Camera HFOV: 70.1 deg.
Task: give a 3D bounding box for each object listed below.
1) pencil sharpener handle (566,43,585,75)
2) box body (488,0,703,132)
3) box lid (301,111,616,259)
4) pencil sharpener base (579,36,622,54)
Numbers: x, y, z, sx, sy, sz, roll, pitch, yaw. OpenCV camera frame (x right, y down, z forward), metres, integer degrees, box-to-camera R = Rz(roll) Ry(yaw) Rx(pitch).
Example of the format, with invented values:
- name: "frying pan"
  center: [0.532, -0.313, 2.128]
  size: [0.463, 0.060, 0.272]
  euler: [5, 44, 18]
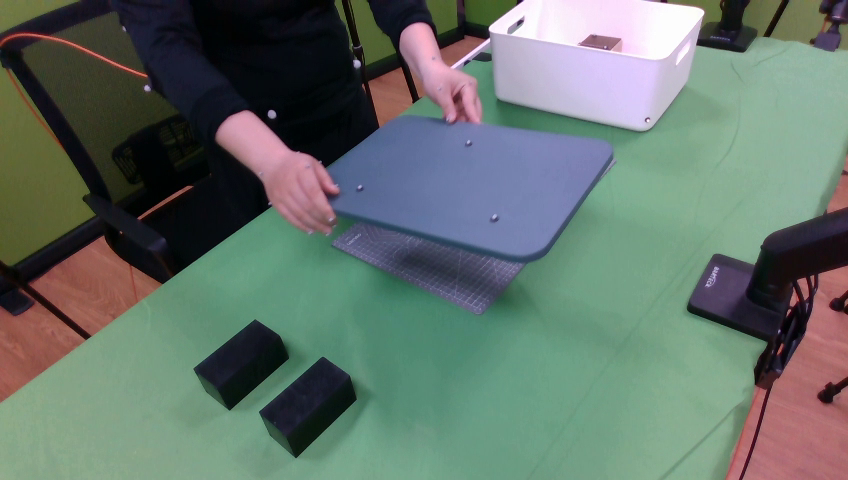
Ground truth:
- name: "pencil sharpener handle"
  center: [0.319, -0.386, 1.283]
  size: [0.030, 0.068, 0.036]
  euler: [20, 40, 30]
- name: "box body"
  center: [0.346, -0.374, 1.251]
  size: [0.361, 0.161, 0.255]
  euler: [21, 48, 29]
- name: "box lid"
  center: [0.043, -0.091, 0.810]
  size: [0.368, 0.015, 0.264]
  euler: [14, 45, 31]
- name: "pencil sharpener base"
  center: [0.364, -0.363, 1.267]
  size: [0.076, 0.107, 0.061]
  euler: [20, 48, 30]
